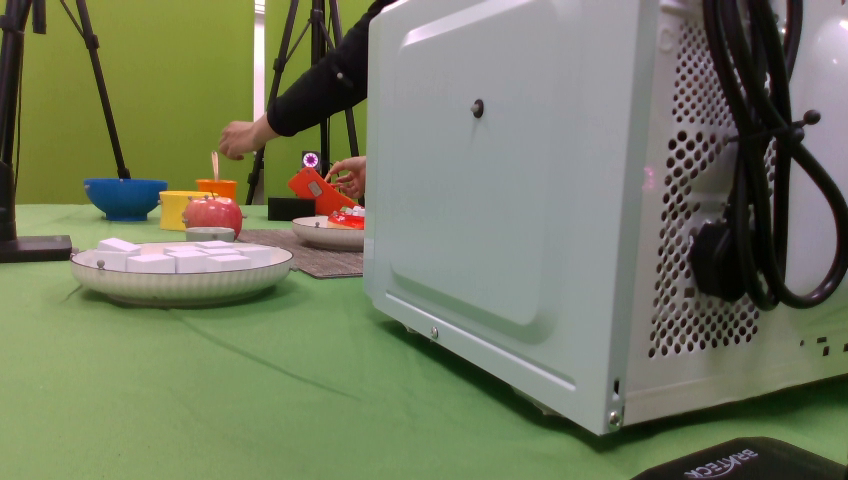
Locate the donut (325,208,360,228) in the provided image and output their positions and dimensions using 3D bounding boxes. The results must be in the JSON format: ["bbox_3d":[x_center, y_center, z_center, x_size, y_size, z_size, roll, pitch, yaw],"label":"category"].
[{"bbox_3d":[-0.111,-0.025,0.974,0.099,0.048,0.099,5,8,0],"label":"donut"}]

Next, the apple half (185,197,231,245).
[{"bbox_3d":[-0.337,-0.031,0.928,0.032,0.081,0.082,13,12,37],"label":"apple half"}]

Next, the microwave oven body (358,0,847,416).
[{"bbox_3d":[0.211,-0.047,0.474,0.444,0.260,0.324,-1,7,-28],"label":"microwave oven body"}]

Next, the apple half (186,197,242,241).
[{"bbox_3d":[-0.307,-0.026,0.905,0.053,0.074,0.081,14,9,37],"label":"apple half"}]

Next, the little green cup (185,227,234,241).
[{"bbox_3d":[-0.285,0.005,0.805,0.061,0.038,0.061,2,8,0],"label":"little green cup"}]

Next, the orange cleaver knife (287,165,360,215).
[{"bbox_3d":[-0.211,-0.092,1.383,0.212,0.077,0.012,34,1,-15],"label":"orange cleaver knife"}]

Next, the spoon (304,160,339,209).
[{"bbox_3d":[-0.259,-0.147,1.567,0.041,0.022,0.193,5,51,21],"label":"spoon"}]

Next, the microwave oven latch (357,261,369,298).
[{"bbox_3d":[-0.019,0.033,0.530,0.079,0.029,0.030,-1,7,-26],"label":"microwave oven latch"}]

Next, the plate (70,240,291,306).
[{"bbox_3d":[-0.242,0.032,0.618,0.208,0.039,0.207,3,8,0],"label":"plate"}]

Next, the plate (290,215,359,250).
[{"bbox_3d":[-0.110,-0.014,0.974,0.209,0.038,0.209,3,8,0],"label":"plate"}]

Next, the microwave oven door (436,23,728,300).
[{"bbox_3d":[0.180,-0.072,0.621,0.358,0.243,0.039,-2,9,-29],"label":"microwave oven door"}]

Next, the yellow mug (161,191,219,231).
[{"bbox_3d":[-0.416,-0.053,1.104,0.130,0.064,0.100,7,9,26],"label":"yellow mug"}]

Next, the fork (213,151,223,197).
[{"bbox_3d":[-0.494,-0.143,1.442,0.028,0.018,0.206,-3,52,-19],"label":"fork"}]

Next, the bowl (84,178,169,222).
[{"bbox_3d":[-0.584,-0.078,1.194,0.151,0.077,0.151,3,8,0],"label":"bowl"}]
